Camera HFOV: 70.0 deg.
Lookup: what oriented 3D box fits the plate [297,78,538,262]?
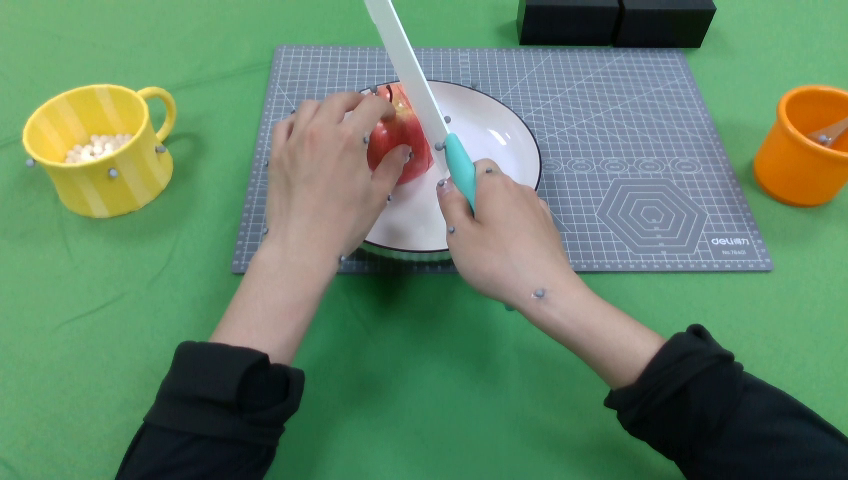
[{"bbox_3d":[-0.006,-0.063,0.536,0.209,0.038,0.207,1,54,-1],"label":"plate"}]

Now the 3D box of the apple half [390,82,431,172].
[{"bbox_3d":[-0.003,-0.101,0.530,0.033,0.082,0.080,-22,57,-12],"label":"apple half"}]

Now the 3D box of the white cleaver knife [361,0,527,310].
[{"bbox_3d":[0.010,-0.081,0.456,0.021,0.066,0.285,-21,82,-9],"label":"white cleaver knife"}]

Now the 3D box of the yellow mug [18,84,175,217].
[{"bbox_3d":[-0.272,-0.088,0.531,0.099,0.064,0.130,29,57,18],"label":"yellow mug"}]

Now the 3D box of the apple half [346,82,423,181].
[{"bbox_3d":[-0.039,-0.087,0.520,0.053,0.075,0.080,-22,61,-11],"label":"apple half"}]

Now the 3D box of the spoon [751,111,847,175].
[{"bbox_3d":[0.380,-0.113,0.519,0.022,0.194,0.041,29,40,-36],"label":"spoon"}]
